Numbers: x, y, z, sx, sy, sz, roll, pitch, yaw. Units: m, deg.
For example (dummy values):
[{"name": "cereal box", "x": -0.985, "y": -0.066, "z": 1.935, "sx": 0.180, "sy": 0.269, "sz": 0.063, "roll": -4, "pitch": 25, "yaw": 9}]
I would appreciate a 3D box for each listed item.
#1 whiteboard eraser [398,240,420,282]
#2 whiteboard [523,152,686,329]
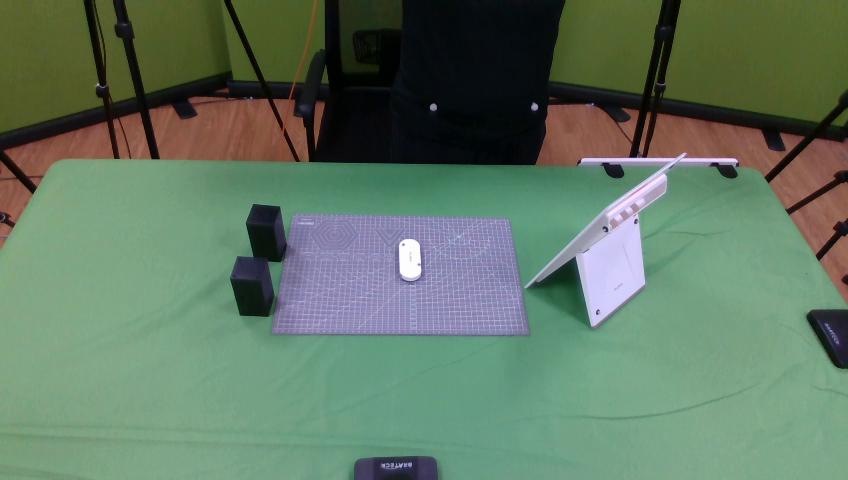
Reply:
[{"name": "whiteboard eraser", "x": -0.029, "y": 0.039, "z": 1.156, "sx": 0.041, "sy": 0.019, "sz": 0.100, "roll": 0, "pitch": 45, "yaw": -5}, {"name": "whiteboard", "x": 0.346, "y": 0.024, "z": 1.047, "sx": 0.217, "sy": 0.306, "sz": 0.143, "roll": -30, "pitch": 74, "yaw": -29}]
